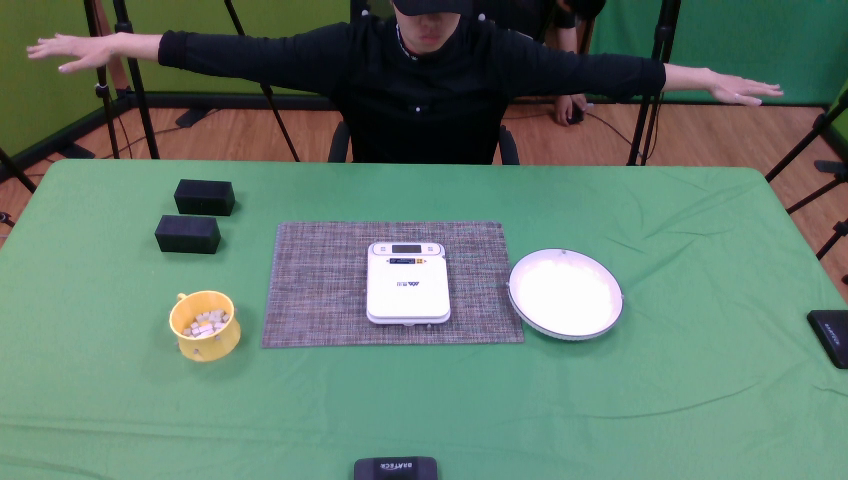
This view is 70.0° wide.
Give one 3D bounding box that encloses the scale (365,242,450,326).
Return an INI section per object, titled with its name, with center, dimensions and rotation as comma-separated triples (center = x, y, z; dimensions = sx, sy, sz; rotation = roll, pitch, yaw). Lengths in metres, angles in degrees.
[scale]
center = -0.032, 0.071, 1.113
dimensions = 0.149, 0.032, 0.199
rotation = 0, 46, -4

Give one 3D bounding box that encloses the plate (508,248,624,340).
[plate]
center = 0.256, 0.101, 1.106
dimensions = 0.209, 0.038, 0.208
rotation = 2, 45, -2

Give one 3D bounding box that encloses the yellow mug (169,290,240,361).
[yellow mug]
center = -0.373, 0.132, 1.009
dimensions = 0.130, 0.064, 0.100
rotation = 35, 53, 27
